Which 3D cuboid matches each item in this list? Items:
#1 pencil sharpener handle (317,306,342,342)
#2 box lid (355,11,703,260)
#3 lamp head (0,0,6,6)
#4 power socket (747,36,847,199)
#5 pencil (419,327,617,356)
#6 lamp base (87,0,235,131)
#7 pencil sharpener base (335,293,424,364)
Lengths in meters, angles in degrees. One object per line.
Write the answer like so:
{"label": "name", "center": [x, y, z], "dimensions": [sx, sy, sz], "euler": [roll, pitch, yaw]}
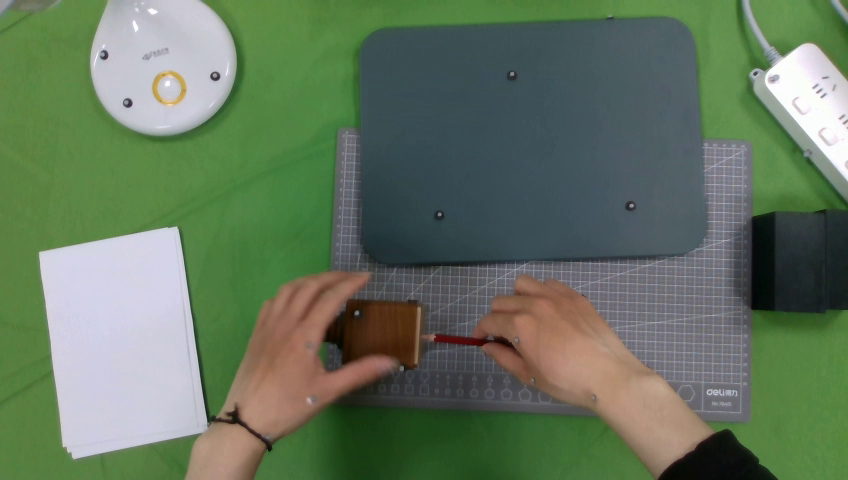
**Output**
{"label": "pencil sharpener handle", "center": [-0.093, 0.084, 0.587], "dimensions": [0.030, 0.068, 0.036], "euler": [3, 73, 3]}
{"label": "box lid", "center": [0.113, -0.113, 0.658], "dimensions": [0.371, 0.015, 0.262], "euler": [-2, 86, 1]}
{"label": "lamp head", "center": [-0.265, -0.194, 0.313], "dimensions": [0.112, 0.124, 0.111], "euler": [-22, 50, 29]}
{"label": "power socket", "center": [0.440, -0.116, 0.641], "dimensions": [0.072, 0.032, 0.226], "euler": [-38, 86, -2]}
{"label": "pencil", "center": [0.087, 0.095, 0.572], "dimensions": [0.194, 0.012, 0.012], "euler": [7, 86, -4]}
{"label": "lamp base", "center": [-0.297, -0.215, 0.590], "dimensions": [0.160, 0.180, 0.178], "euler": [-29, 83, -1]}
{"label": "pencil sharpener base", "center": [-0.041, 0.084, 0.598], "dimensions": [0.076, 0.107, 0.061], "euler": [3, 86, 2]}
